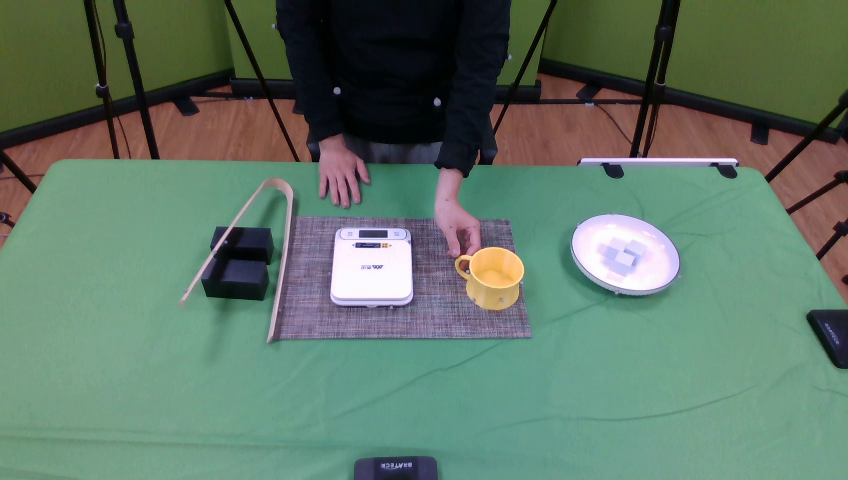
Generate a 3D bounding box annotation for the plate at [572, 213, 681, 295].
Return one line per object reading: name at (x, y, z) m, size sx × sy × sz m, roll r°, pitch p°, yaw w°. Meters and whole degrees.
plate at (0.392, 0.030, 1.189) m, size 0.208 × 0.039 × 0.206 m, roll 2°, pitch 46°, yaw -2°

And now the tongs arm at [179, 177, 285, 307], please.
tongs arm at (-0.342, -0.008, 1.117) m, size 0.051 × 0.026 × 0.382 m, roll 29°, pitch 38°, yaw -14°

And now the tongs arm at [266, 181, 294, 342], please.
tongs arm at (-0.273, 0.027, 1.144) m, size 0.028 × 0.028 × 0.385 m, roll 17°, pitch 42°, yaw -22°

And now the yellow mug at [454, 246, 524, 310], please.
yellow mug at (0.115, 0.063, 1.111) m, size 0.130 × 0.064 × 0.099 m, roll 21°, pitch 49°, yaw 17°

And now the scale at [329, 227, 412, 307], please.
scale at (-0.099, 0.042, 1.139) m, size 0.149 × 0.032 × 0.199 m, roll 1°, pitch 46°, yaw -4°
